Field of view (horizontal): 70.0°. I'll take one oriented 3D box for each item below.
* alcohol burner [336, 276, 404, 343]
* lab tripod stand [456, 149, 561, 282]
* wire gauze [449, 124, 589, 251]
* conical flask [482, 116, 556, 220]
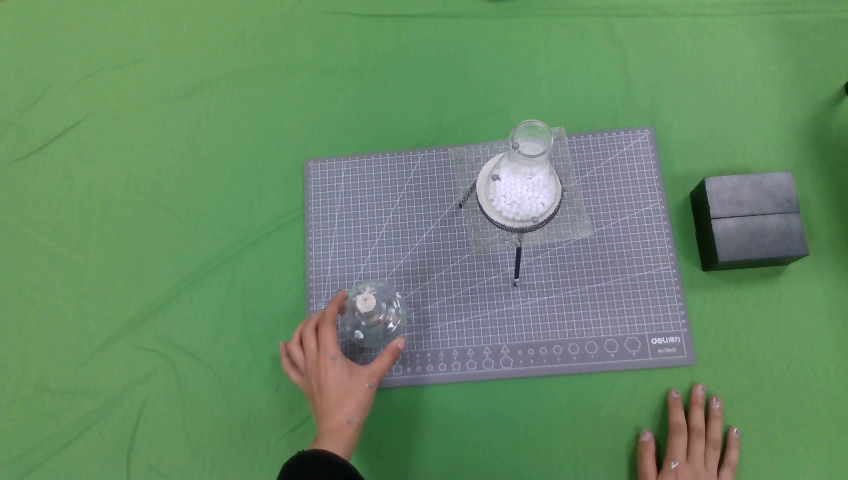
[{"bbox_3d":[-0.062,0.074,0.675,0.078,0.120,0.077,-1,73,3],"label":"alcohol burner"},{"bbox_3d":[0.103,-0.039,0.684,0.148,0.132,0.147,-1,73,4],"label":"lab tripod stand"},{"bbox_3d":[0.096,-0.054,0.621,0.125,0.011,0.121,-9,76,-2],"label":"wire gauze"},{"bbox_3d":[0.092,-0.071,0.564,0.075,0.122,0.075,-1,74,3],"label":"conical flask"}]
